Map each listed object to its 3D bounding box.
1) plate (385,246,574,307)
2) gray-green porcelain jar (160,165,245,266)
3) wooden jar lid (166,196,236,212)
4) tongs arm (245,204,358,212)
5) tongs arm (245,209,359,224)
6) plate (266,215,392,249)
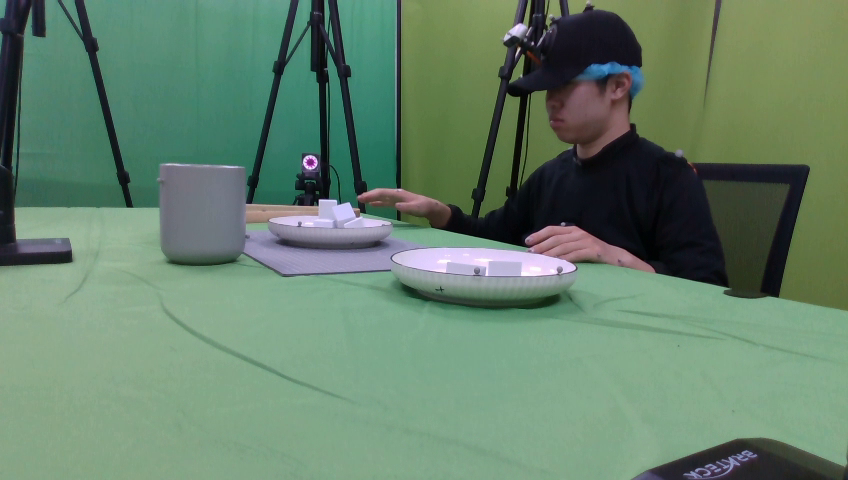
[{"bbox_3d":[0.060,0.041,0.678,0.208,0.039,0.207,3,7,0],"label":"plate"},{"bbox_3d":[-0.291,-0.034,0.799,0.106,0.126,0.106,2,8,0],"label":"gray-green porcelain jar"},{"bbox_3d":[-0.369,-0.060,1.001,0.108,0.020,0.108,3,6,0],"label":"wooden jar lid"},{"bbox_3d":[-0.342,-0.068,1.409,0.387,0.026,0.050,0,9,-27],"label":"tongs arm"},{"bbox_3d":[-0.300,-0.052,1.340,0.390,0.028,0.028,-3,8,-40],"label":"tongs arm"},{"bbox_3d":[-0.159,-0.015,1.019,0.209,0.038,0.209,3,7,0],"label":"plate"}]
